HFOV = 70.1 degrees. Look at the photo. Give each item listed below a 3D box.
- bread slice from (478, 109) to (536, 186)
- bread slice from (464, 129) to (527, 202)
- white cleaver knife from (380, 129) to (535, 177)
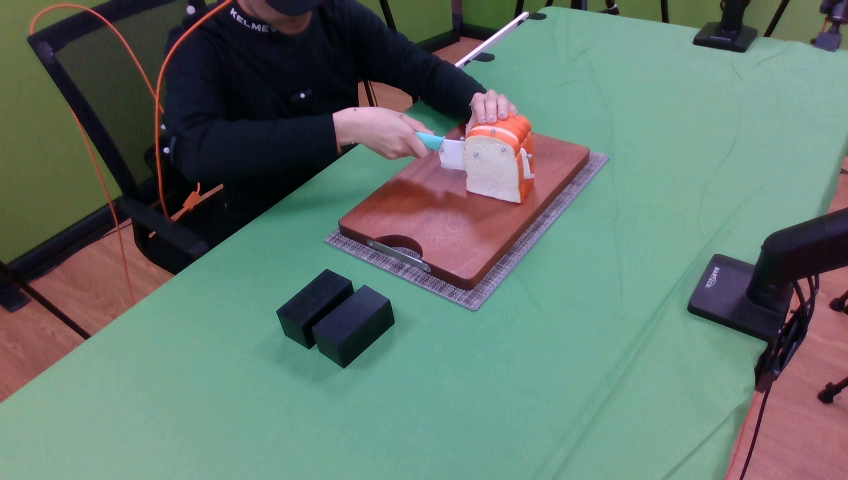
[{"bbox_3d":[0.135,-0.153,1.001,0.106,0.135,0.018,18,48,24],"label":"bread slice"},{"bbox_3d":[0.110,-0.119,0.966,0.104,0.132,0.019,15,52,24],"label":"bread slice"},{"bbox_3d":[0.047,-0.143,1.003,0.284,0.066,0.021,13,47,29],"label":"white cleaver knife"}]
